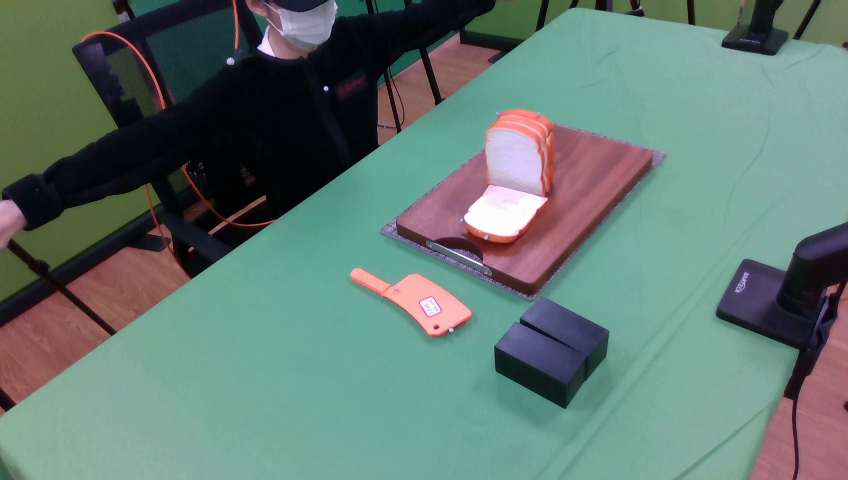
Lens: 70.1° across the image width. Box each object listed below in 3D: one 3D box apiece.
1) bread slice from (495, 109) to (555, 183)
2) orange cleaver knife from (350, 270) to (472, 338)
[{"bbox_3d":[0.167,-0.155,1.000,0.106,0.135,0.018,18,53,19],"label":"bread slice"},{"bbox_3d":[-0.023,0.080,0.889,0.209,0.012,0.077,27,54,37],"label":"orange cleaver knife"}]
